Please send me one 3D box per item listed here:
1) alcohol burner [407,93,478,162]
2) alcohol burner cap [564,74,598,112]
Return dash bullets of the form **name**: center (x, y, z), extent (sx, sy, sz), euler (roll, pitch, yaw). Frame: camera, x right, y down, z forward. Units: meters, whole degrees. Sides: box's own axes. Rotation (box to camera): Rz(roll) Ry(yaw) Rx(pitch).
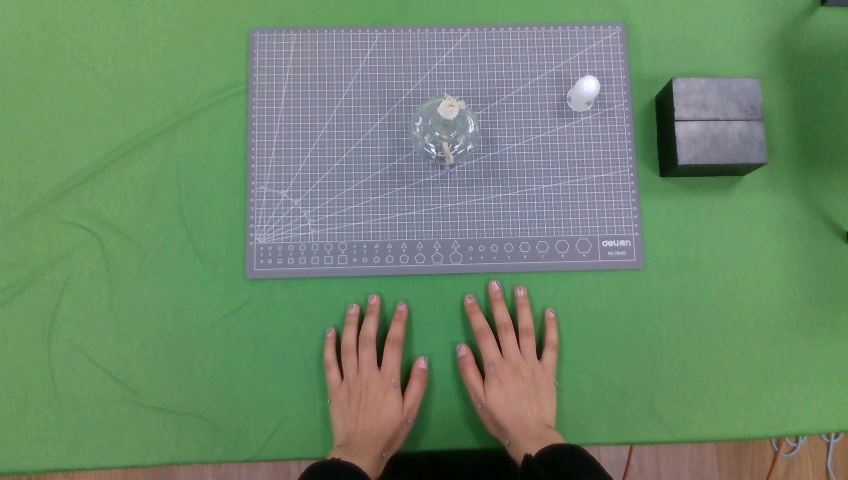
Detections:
- **alcohol burner**: center (0.021, -0.126, 0.650), extent (0.078, 0.119, 0.077), euler (1, 81, -3)
- **alcohol burner cap**: center (0.182, -0.172, 0.698), extent (0.034, 0.048, 0.033), euler (0, 80, -2)
